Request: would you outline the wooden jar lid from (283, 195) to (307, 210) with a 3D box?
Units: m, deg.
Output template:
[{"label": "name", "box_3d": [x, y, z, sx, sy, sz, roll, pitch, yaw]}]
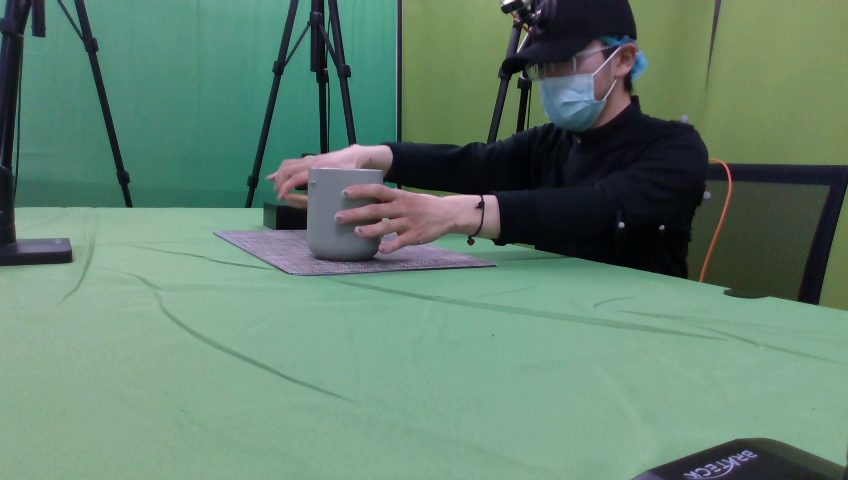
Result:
[{"label": "wooden jar lid", "box_3d": [-0.188, -0.064, 1.045, 0.108, 0.020, 0.108, 5, 6, 0]}]

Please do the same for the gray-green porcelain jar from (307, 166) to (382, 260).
[{"label": "gray-green porcelain jar", "box_3d": [-0.112, -0.039, 0.850, 0.106, 0.126, 0.106, 2, 7, 0]}]
